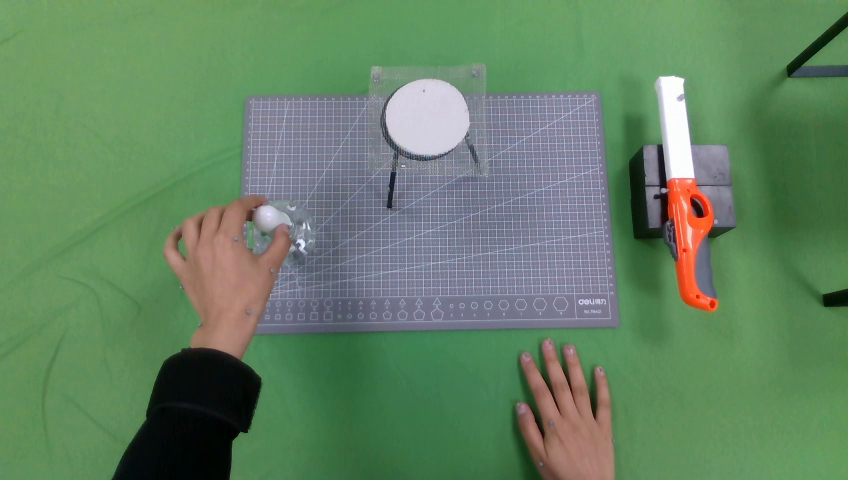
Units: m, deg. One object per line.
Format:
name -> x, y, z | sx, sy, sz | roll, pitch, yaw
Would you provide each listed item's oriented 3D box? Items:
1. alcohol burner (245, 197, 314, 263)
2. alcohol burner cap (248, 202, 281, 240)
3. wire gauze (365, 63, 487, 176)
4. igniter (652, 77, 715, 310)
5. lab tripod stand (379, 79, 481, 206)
alcohol burner -> -0.164, -0.015, 0.672 | 0.078, 0.119, 0.077 | 0, 79, 1
alcohol burner cap -> -0.169, -0.022, 0.635 | 0.034, 0.048, 0.033 | 2, 74, -6
wire gauze -> 0.003, -0.125, 0.620 | 0.125, 0.011, 0.121 | 2, 77, 0
igniter -> 0.291, -0.057, 0.687 | 0.057, 0.025, 0.275 | 0, 75, -4
lab tripod stand -> -0.004, -0.114, 0.686 | 0.148, 0.132, 0.147 | 0, 77, 1
